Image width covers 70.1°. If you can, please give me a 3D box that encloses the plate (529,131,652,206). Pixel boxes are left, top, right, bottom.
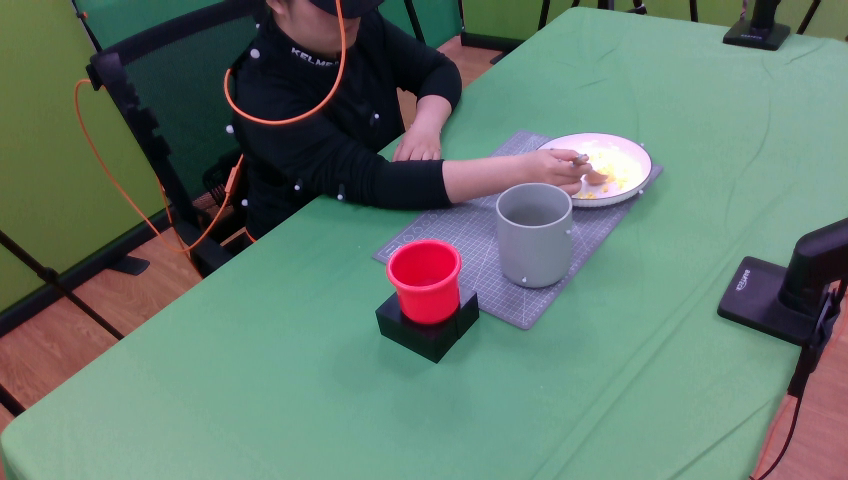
[{"bbox_3d":[0.287,-0.121,1.056,0.207,0.039,0.206,-5,40,5],"label":"plate"}]

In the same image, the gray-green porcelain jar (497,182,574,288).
[{"bbox_3d":[0.161,-0.003,0.869,0.106,0.127,0.105,-5,40,5],"label":"gray-green porcelain jar"}]

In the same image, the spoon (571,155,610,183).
[{"bbox_3d":[0.260,-0.115,0.964,0.041,0.195,0.021,-2,82,27],"label":"spoon"}]
